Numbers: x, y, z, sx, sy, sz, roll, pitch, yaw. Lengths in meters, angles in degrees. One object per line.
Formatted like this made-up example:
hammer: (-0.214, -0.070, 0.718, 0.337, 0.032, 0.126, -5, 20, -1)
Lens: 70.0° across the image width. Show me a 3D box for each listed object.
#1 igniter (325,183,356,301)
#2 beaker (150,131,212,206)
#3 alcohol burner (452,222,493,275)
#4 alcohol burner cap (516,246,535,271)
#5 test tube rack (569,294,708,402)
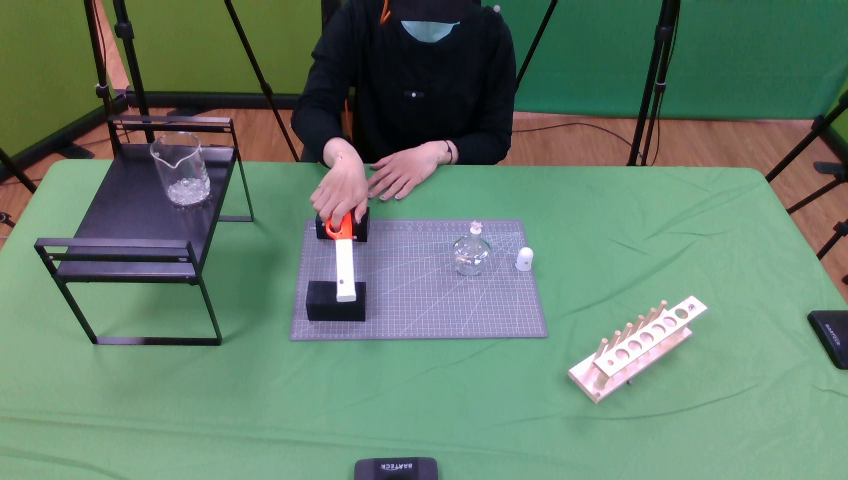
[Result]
igniter: (-0.147, -0.006, 1.088, 0.057, 0.025, 0.274, -3, 49, -9)
beaker: (-0.385, -0.110, 0.969, 0.074, 0.101, 0.083, -6, 48, -9)
alcohol burner: (0.091, 0.009, 1.124, 0.078, 0.119, 0.077, 2, 48, -2)
alcohol burner cap: (0.195, 0.032, 1.158, 0.034, 0.048, 0.033, 2, 45, -2)
test tube rack: (0.360, 0.167, 1.015, 0.242, 0.085, 0.066, -25, 53, -25)
